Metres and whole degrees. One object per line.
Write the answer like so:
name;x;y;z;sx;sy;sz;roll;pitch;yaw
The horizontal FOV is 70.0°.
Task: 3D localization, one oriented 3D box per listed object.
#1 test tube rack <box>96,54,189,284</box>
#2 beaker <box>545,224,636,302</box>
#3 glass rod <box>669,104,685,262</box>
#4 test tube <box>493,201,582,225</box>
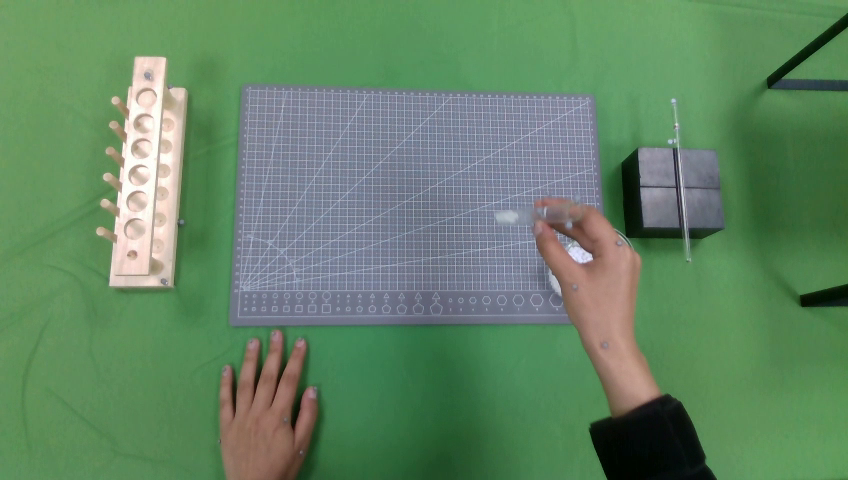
test tube rack;-0.317;-0.077;0.674;0.067;0.085;0.241;1;77;-5
beaker;0.182;0.031;0.691;0.084;0.100;0.073;2;76;-4
glass rod;0.304;-0.071;0.727;0.008;0.008;0.198;2;77;-5
test tube;0.098;-0.023;0.553;0.017;0.149;0.017;0;90;-18
